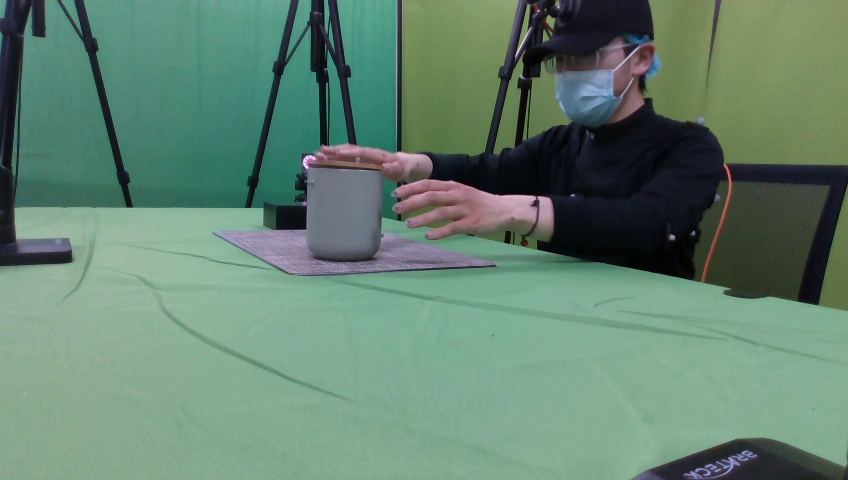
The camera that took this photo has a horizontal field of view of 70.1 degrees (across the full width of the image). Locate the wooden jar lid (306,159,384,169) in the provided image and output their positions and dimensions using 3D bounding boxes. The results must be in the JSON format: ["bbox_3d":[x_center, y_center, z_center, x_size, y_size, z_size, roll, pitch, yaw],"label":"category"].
[{"bbox_3d":[-0.110,-0.100,0.840,0.108,0.020,0.108,4,4,0],"label":"wooden jar lid"}]

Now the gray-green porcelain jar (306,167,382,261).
[{"bbox_3d":[-0.112,-0.039,0.849,0.106,0.126,0.106,2,7,0],"label":"gray-green porcelain jar"}]
